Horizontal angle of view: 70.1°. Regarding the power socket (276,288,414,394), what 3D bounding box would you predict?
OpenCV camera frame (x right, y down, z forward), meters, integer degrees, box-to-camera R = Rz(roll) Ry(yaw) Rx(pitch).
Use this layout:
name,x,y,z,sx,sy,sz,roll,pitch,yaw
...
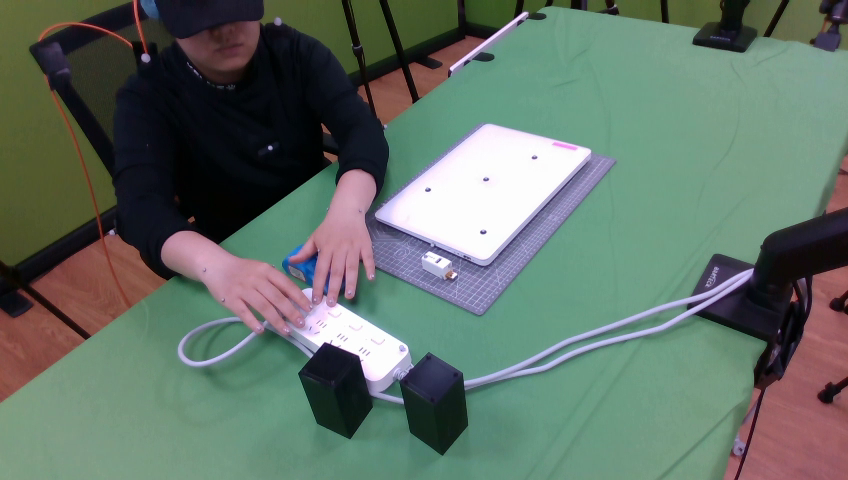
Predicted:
name,x,y,z,sx,sy,sz,roll,pitch,yaw
power socket,-0.114,0.132,0.821,0.225,0.033,0.072,26,49,33

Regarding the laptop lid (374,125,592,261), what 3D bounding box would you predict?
name,x,y,z,sx,sy,sz,roll,pitch,yaw
laptop lid,0.109,-0.101,1.057,0.239,0.013,0.358,23,48,34

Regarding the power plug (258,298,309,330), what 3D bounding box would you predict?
name,x,y,z,sx,sy,sz,roll,pitch,yaw
power plug,-0.194,0.106,0.835,0.073,0.053,0.035,-28,50,-16

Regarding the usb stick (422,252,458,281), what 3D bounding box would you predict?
name,x,y,z,sx,sy,sz,roll,pitch,yaw
usb stick,0.025,0.042,0.908,0.058,0.027,0.021,27,49,31

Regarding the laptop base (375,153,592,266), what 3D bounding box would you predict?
name,x,y,z,sx,sy,sz,roll,pitch,yaw
laptop base,0.112,-0.092,1.063,0.233,0.023,0.355,21,48,34

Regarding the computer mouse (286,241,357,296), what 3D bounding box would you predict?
name,x,y,z,sx,sy,sz,roll,pitch,yaw
computer mouse,-0.161,0.041,0.939,0.116,0.041,0.063,27,55,34
